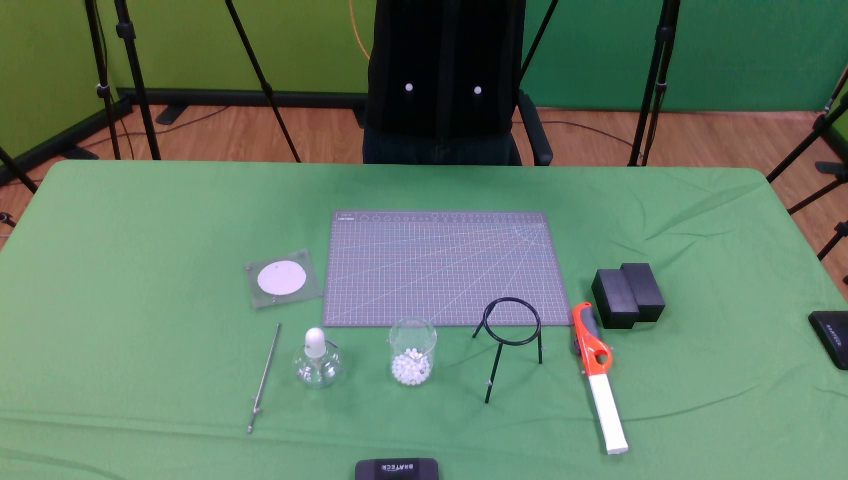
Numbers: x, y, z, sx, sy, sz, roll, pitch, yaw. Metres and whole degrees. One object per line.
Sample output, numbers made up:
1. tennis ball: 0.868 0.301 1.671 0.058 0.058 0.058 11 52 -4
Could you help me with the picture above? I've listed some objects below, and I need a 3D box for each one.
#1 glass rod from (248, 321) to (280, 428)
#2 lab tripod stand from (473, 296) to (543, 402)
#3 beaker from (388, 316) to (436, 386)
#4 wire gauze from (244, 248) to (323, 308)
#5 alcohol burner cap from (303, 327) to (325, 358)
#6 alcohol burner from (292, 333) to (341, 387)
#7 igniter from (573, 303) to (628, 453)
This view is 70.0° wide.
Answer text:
1. glass rod: -0.257 0.213 0.984 0.008 0.008 0.198 4 46 1
2. lab tripod stand: 0.132 0.168 0.969 0.148 0.132 0.147 3 48 -3
3. beaker: -0.019 0.183 0.968 0.074 0.101 0.083 -7 48 -10
4. wire gauze: -0.262 0.071 1.121 0.125 0.011 0.120 -11 48 -17
5. alcohol burner cap: -0.169 0.154 0.925 0.034 0.048 0.033 4 41 -3
6. alcohol burner: -0.170 0.179 0.950 0.078 0.120 0.077 2 48 -2
7. igniter: 0.288 0.216 1.006 0.057 0.025 0.274 -10 46 8
